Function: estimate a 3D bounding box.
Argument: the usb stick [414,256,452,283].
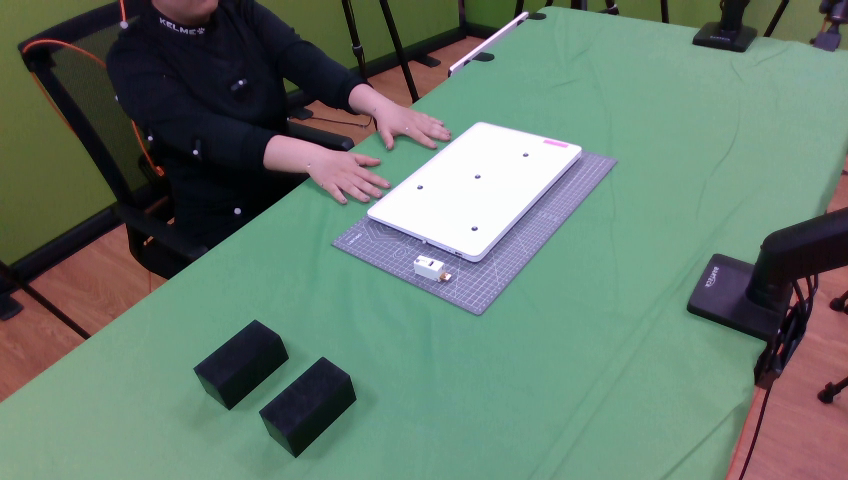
[{"bbox_3d":[0.015,0.046,0.906,0.059,0.027,0.021,21,48,25],"label":"usb stick"}]

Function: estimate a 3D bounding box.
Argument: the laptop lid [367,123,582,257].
[{"bbox_3d":[0.094,-0.106,1.066,0.239,0.013,0.358,23,48,34],"label":"laptop lid"}]

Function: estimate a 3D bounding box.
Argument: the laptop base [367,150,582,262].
[{"bbox_3d":[0.098,-0.097,1.072,0.233,0.023,0.355,20,47,33],"label":"laptop base"}]
